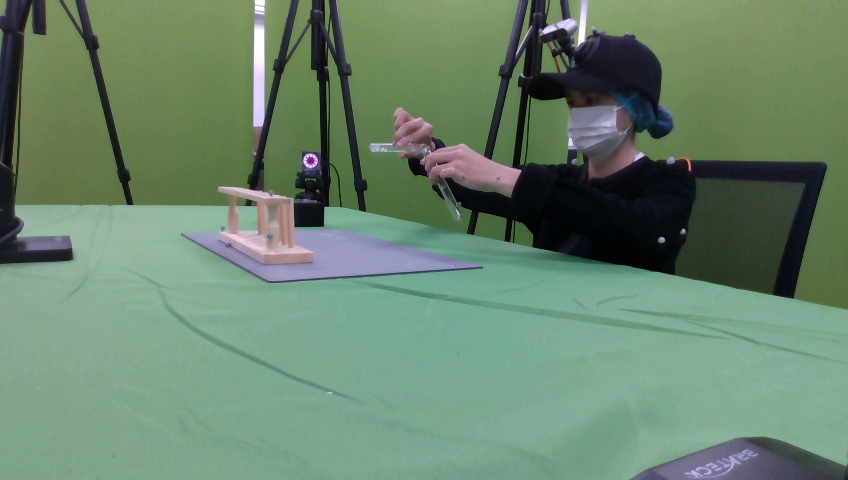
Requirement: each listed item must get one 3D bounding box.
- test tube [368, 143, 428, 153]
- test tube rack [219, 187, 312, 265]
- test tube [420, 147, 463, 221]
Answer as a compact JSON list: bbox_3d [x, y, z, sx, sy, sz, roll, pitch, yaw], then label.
[{"bbox_3d":[-0.051,-0.166,1.089,0.017,0.017,0.149,-5,10,-45],"label":"test tube"},{"bbox_3d":[-0.235,-0.027,0.872,0.067,0.085,0.241,-2,8,-31],"label":"test tube rack"},{"bbox_3d":[0.029,-0.094,1.010,0.017,0.150,0.017,-22,-22,-9],"label":"test tube"}]
